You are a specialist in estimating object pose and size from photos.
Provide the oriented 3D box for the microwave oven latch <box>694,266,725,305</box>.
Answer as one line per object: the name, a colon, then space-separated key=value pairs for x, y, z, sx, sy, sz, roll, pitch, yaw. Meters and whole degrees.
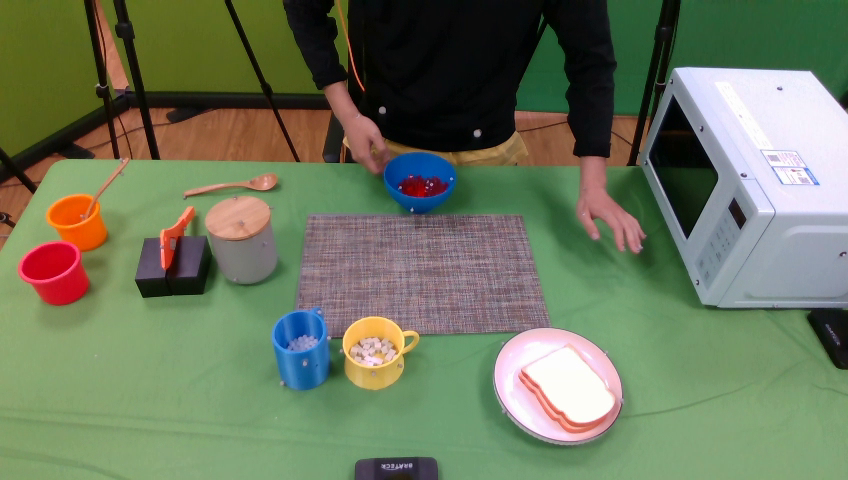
microwave oven latch: x=0.523 y=0.082 z=1.115 sx=0.030 sy=0.029 sz=0.078 roll=3 pitch=46 yaw=0

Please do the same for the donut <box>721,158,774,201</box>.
donut: x=0.648 y=-0.122 z=1.215 sx=0.099 sy=0.048 sz=0.098 roll=-3 pitch=56 yaw=5

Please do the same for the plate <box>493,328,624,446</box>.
plate: x=0.213 y=0.236 z=0.974 sx=0.208 sy=0.039 sz=0.206 roll=2 pitch=46 yaw=-2

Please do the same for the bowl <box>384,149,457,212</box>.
bowl: x=-0.009 y=-0.112 z=1.262 sx=0.151 sy=0.077 sz=0.150 roll=2 pitch=46 yaw=-2

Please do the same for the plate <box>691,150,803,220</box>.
plate: x=0.652 y=-0.108 z=1.237 sx=0.209 sy=0.038 sz=0.208 roll=-1 pitch=45 yaw=1

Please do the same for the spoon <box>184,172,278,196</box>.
spoon: x=-0.405 y=-0.116 z=1.275 sx=0.194 sy=0.022 sz=0.041 roll=-8 pitch=64 yaw=-12

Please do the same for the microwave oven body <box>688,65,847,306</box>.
microwave oven body: x=0.669 y=-0.111 z=1.176 sx=0.326 sy=0.261 sz=0.439 roll=0 pitch=46 yaw=-3

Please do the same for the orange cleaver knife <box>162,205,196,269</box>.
orange cleaver knife: x=-0.454 y=-0.010 z=1.129 sx=0.012 sy=0.077 sz=0.210 roll=-2 pitch=20 yaw=-5

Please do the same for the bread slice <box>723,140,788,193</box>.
bread slice: x=0.661 y=-0.147 z=1.201 sx=0.107 sy=0.018 sz=0.133 roll=0 pitch=53 yaw=9

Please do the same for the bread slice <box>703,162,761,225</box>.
bread slice: x=0.648 y=-0.102 z=1.266 sx=0.105 sy=0.019 sz=0.131 roll=14 pitch=72 yaw=11

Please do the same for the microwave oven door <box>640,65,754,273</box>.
microwave oven door: x=0.524 y=-0.147 z=1.193 sx=0.039 sy=0.245 sz=0.353 roll=0 pitch=47 yaw=-3

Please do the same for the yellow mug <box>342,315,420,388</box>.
yellow mug: x=-0.067 y=0.177 z=0.990 sx=0.131 sy=0.064 sz=0.099 roll=-16 pitch=50 yaw=-19

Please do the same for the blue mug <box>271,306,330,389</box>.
blue mug: x=-0.188 y=0.163 z=0.969 sx=0.082 sy=0.106 sz=0.116 roll=15 pitch=47 yaw=10

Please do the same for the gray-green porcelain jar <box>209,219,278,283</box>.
gray-green porcelain jar: x=-0.323 y=0.007 z=1.092 sx=0.106 sy=0.127 sz=0.105 roll=2 pitch=46 yaw=-2

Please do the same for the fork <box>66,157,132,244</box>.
fork: x=-0.608 y=-0.074 z=1.132 sx=0.207 sy=0.019 sz=0.028 roll=-52 pitch=47 yaw=10

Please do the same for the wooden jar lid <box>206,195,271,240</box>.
wooden jar lid: x=-0.319 y=-0.036 z=1.046 sx=0.108 sy=0.021 sz=0.107 roll=1 pitch=44 yaw=0
